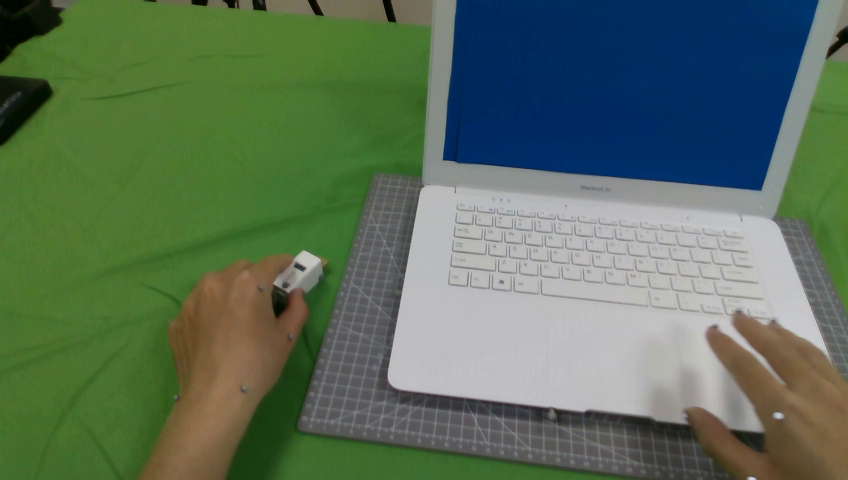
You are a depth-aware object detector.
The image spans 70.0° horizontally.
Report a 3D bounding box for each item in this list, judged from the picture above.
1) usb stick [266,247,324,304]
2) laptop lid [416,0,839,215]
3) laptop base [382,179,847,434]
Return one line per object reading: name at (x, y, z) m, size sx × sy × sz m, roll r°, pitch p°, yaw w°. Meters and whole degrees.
usb stick at (-0.110, 0.026, 0.531) m, size 0.021 × 0.027 × 0.059 m, roll 20°, pitch 46°, yaw 22°
laptop lid at (0.174, -0.144, 0.563) m, size 0.356 × 0.243 × 0.013 m, roll 4°, pitch 25°, yaw 3°
laptop base at (0.153, 0.046, 0.533) m, size 0.354 × 0.023 × 0.233 m, roll 6°, pitch 49°, yaw 2°
